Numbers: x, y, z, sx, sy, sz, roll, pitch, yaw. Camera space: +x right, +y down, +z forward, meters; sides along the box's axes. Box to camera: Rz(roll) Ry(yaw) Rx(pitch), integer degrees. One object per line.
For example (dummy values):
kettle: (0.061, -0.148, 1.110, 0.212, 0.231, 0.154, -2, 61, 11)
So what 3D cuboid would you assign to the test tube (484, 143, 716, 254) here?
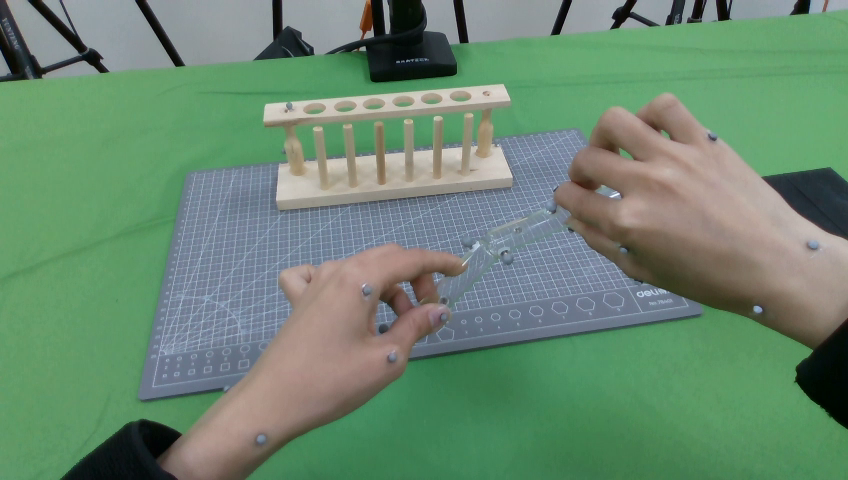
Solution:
test tube: (0.103, -0.026, 0.348, 0.150, 0.017, 0.017, -22, 45, -10)

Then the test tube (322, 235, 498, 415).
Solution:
test tube: (-0.012, 0.054, 0.358, 0.150, 0.017, 0.017, -47, 43, 17)

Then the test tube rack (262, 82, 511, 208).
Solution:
test tube rack: (-0.034, -0.098, 0.619, 0.243, 0.086, 0.066, -6, 42, -5)
